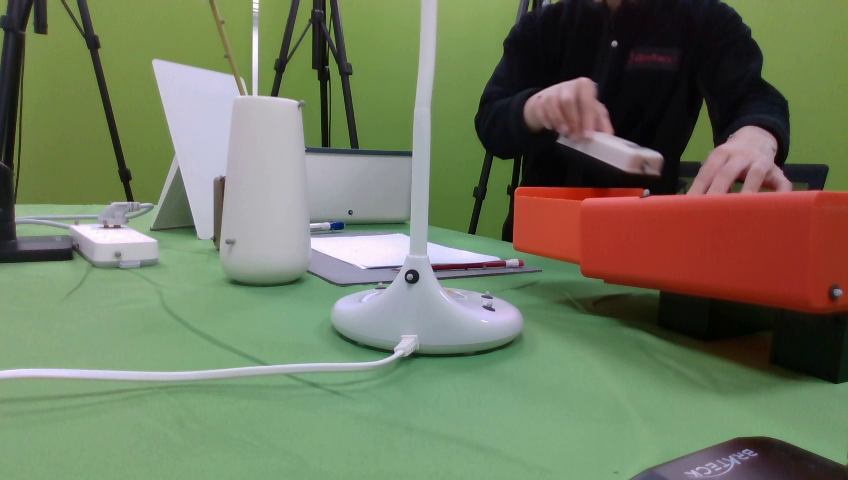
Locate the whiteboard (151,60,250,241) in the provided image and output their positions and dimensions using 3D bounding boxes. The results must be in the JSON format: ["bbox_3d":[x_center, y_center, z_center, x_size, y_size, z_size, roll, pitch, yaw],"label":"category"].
[{"bbox_3d":[-0.408,-0.139,1.093,0.143,0.305,0.218,-15,0,26],"label":"whiteboard"}]

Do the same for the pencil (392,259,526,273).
[{"bbox_3d":[0.049,0.035,0.782,0.195,0.012,0.012,-3,9,-25],"label":"pencil"}]

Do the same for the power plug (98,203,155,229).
[{"bbox_3d":[-0.416,-0.026,0.848,0.073,0.052,0.035,1,8,-28],"label":"power plug"}]

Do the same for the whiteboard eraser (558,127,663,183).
[{"bbox_3d":[0.208,-0.097,0.686,0.056,0.042,0.112,-5,26,-31],"label":"whiteboard eraser"}]

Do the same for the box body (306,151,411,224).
[{"bbox_3d":[-0.230,-0.126,1.371,0.366,0.160,0.253,-2,8,-33],"label":"box body"}]

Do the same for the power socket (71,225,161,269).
[{"bbox_3d":[-0.408,0.004,0.793,0.072,0.032,0.225,-2,8,-38],"label":"power socket"}]

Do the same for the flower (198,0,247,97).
[{"bbox_3d":[-0.187,-0.133,0.648,0.038,0.362,0.044,-1,22,43],"label":"flower"}]

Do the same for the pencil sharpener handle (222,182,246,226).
[{"bbox_3d":[-0.289,-0.055,0.912,0.036,0.067,0.030,-3,9,-29],"label":"pencil sharpener handle"}]

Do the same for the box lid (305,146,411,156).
[{"bbox_3d":[-0.229,-0.200,1.360,0.373,0.015,0.262,-3,9,-33],"label":"box lid"}]

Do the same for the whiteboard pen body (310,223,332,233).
[{"bbox_3d":[-0.207,-0.021,1.081,0.017,0.017,0.141,9,10,41],"label":"whiteboard pen body"}]

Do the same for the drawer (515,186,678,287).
[{"bbox_3d":[0.229,-0.010,0.603,0.195,0.073,0.210,-1,9,-28],"label":"drawer"}]

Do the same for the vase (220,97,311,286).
[{"bbox_3d":[-0.172,-0.052,0.662,0.098,0.200,0.098,3,8,0],"label":"vase"}]

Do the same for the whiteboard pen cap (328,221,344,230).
[{"bbox_3d":[-0.166,-0.027,1.124,0.018,0.018,0.033,9,11,41],"label":"whiteboard pen cap"}]

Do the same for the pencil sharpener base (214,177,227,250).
[{"bbox_3d":[-0.265,-0.036,0.870,0.061,0.107,0.076,-2,8,-29],"label":"pencil sharpener base"}]

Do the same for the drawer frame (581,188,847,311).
[{"bbox_3d":[0.280,0.000,0.511,0.203,0.082,0.212,-1,3,-28],"label":"drawer frame"}]

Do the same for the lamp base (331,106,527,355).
[{"bbox_3d":[0.006,-0.012,0.478,0.161,0.180,0.179,2,10,2],"label":"lamp base"}]
